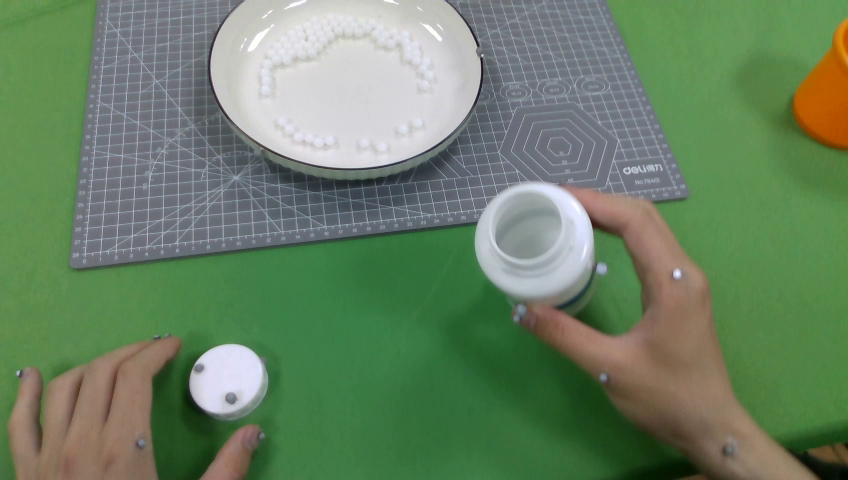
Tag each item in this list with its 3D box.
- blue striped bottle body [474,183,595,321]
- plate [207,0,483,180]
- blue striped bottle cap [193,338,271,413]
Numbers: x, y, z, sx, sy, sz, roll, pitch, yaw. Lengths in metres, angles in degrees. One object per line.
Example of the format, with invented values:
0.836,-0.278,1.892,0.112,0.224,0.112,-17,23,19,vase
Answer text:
0.065,0.008,0.348,0.063,0.122,0.062,-4,74,15,blue striped bottle body
-0.059,-0.130,0.475,0.208,0.039,0.206,2,62,-4,plate
-0.118,0.083,0.375,0.044,0.021,0.044,2,67,-3,blue striped bottle cap
